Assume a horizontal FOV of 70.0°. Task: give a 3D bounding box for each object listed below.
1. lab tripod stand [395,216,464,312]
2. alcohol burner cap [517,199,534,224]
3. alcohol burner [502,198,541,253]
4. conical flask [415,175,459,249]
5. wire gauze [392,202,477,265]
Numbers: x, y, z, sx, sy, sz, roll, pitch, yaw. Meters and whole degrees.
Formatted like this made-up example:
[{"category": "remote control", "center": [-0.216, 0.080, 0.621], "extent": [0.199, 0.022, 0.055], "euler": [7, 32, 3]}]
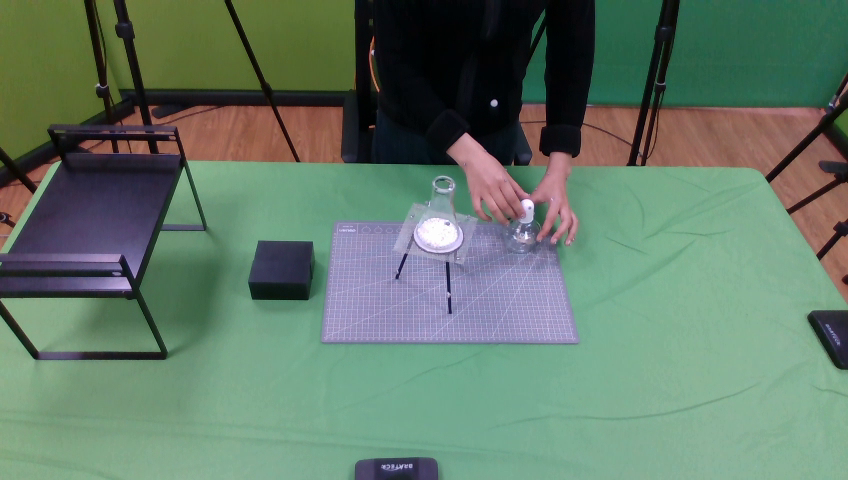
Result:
[{"category": "lab tripod stand", "center": [0.023, 0.036, 1.084], "extent": [0.148, 0.132, 0.147], "euler": [4, 46, -4]}, {"category": "alcohol burner cap", "center": [0.194, -0.058, 1.152], "extent": [0.034, 0.048, 0.033], "euler": [-1, 50, 1]}, {"category": "alcohol burner", "center": [0.192, -0.033, 1.178], "extent": [0.078, 0.120, 0.077], "euler": [2, 44, -2]}, {"category": "conical flask", "center": [0.026, -0.049, 0.993], "extent": [0.075, 0.122, 0.075], "euler": [3, 47, -3]}, {"category": "wire gauze", "center": [0.021, -0.011, 1.037], "extent": [0.121, 0.011, 0.124], "euler": [13, 49, 8]}]
